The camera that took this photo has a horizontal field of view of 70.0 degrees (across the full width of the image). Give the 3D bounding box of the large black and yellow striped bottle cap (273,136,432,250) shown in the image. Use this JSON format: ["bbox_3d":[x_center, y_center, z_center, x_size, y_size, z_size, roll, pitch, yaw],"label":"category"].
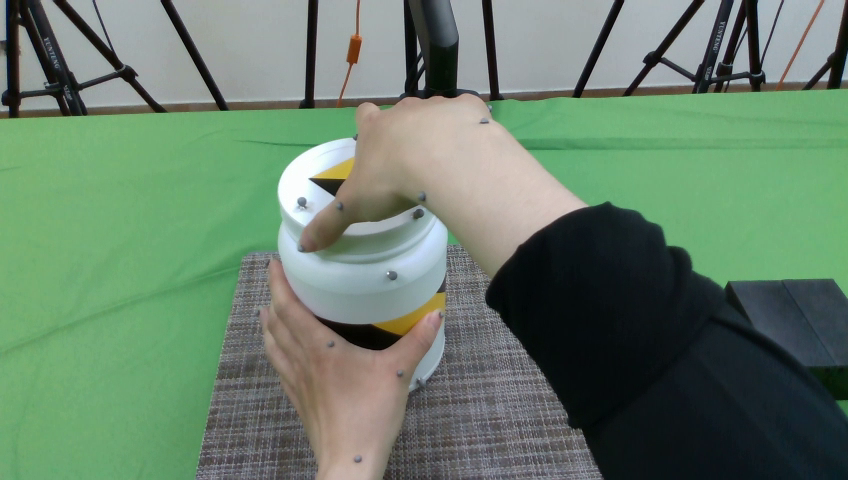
[{"bbox_3d":[-0.051,-0.038,0.440,0.115,0.019,0.114,1,43,-1],"label":"large black and yellow striped bottle cap"}]

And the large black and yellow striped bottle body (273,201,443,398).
[{"bbox_3d":[-0.050,0.028,0.498,0.131,0.185,0.129,0,42,0],"label":"large black and yellow striped bottle body"}]
